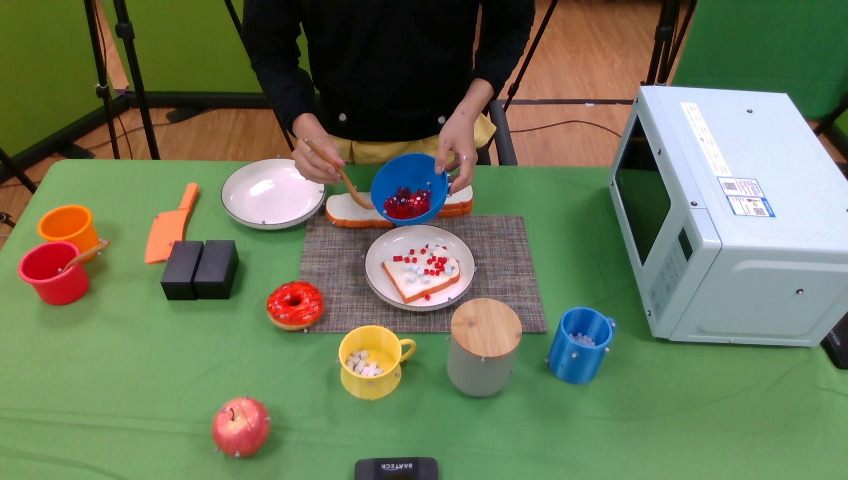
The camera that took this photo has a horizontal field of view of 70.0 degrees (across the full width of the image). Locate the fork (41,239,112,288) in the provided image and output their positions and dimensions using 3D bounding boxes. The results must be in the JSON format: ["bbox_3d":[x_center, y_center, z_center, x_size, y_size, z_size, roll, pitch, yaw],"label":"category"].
[{"bbox_3d":[-0.591,0.040,1.028,0.207,0.019,0.028,-27,37,29],"label":"fork"}]

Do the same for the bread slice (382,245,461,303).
[{"bbox_3d":[0.000,0.055,1.129,0.131,0.019,0.104,-21,51,-20],"label":"bread slice"}]

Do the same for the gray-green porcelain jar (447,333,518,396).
[{"bbox_3d":[0.091,0.178,0.960,0.106,0.127,0.105,2,46,-2],"label":"gray-green porcelain jar"}]

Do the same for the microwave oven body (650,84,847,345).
[{"bbox_3d":[0.569,-0.054,1.116,0.326,0.261,0.439,2,46,-1],"label":"microwave oven body"}]

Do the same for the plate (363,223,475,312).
[{"bbox_3d":[-0.009,0.054,1.127,0.208,0.039,0.206,2,46,-2],"label":"plate"}]

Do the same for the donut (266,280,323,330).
[{"bbox_3d":[-0.223,0.112,1.051,0.099,0.048,0.098,2,46,-2],"label":"donut"}]

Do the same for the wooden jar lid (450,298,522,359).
[{"bbox_3d":[0.093,0.135,0.914,0.108,0.021,0.107,2,49,-3],"label":"wooden jar lid"}]

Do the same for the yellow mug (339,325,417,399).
[{"bbox_3d":[-0.072,0.190,0.978,0.131,0.064,0.099,-17,50,-20],"label":"yellow mug"}]

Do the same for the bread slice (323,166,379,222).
[{"bbox_3d":[-0.140,-0.092,1.224,0.134,0.018,0.106,-19,51,6],"label":"bread slice"}]

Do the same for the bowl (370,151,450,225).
[{"bbox_3d":[-0.018,-0.085,1.144,0.151,0.077,0.150,-7,61,13],"label":"bowl"}]

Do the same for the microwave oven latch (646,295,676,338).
[{"bbox_3d":[0.413,0.133,1.060,0.030,0.029,0.078,4,46,1],"label":"microwave oven latch"}]

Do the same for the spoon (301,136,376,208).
[{"bbox_3d":[-0.142,-0.111,1.017,0.021,0.195,0.041,-45,42,-6],"label":"spoon"}]

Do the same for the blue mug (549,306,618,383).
[{"bbox_3d":[0.269,0.167,0.997,0.116,0.106,0.082,-19,50,-21],"label":"blue mug"}]

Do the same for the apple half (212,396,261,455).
[{"bbox_3d":[-0.276,0.276,0.877,0.053,0.075,0.080,-29,58,-21],"label":"apple half"}]

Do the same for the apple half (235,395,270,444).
[{"bbox_3d":[-0.245,0.260,0.893,0.033,0.082,0.081,-29,55,-22],"label":"apple half"}]

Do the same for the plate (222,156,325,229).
[{"bbox_3d":[-0.308,-0.095,1.251,0.209,0.038,0.208,3,47,-3],"label":"plate"}]

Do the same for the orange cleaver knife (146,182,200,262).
[{"bbox_3d":[-0.494,-0.039,1.199,0.077,0.012,0.210,-3,48,1],"label":"orange cleaver knife"}]

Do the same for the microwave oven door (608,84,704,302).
[{"bbox_3d":[0.424,-0.096,1.138,0.039,0.245,0.353,2,47,-1],"label":"microwave oven door"}]
